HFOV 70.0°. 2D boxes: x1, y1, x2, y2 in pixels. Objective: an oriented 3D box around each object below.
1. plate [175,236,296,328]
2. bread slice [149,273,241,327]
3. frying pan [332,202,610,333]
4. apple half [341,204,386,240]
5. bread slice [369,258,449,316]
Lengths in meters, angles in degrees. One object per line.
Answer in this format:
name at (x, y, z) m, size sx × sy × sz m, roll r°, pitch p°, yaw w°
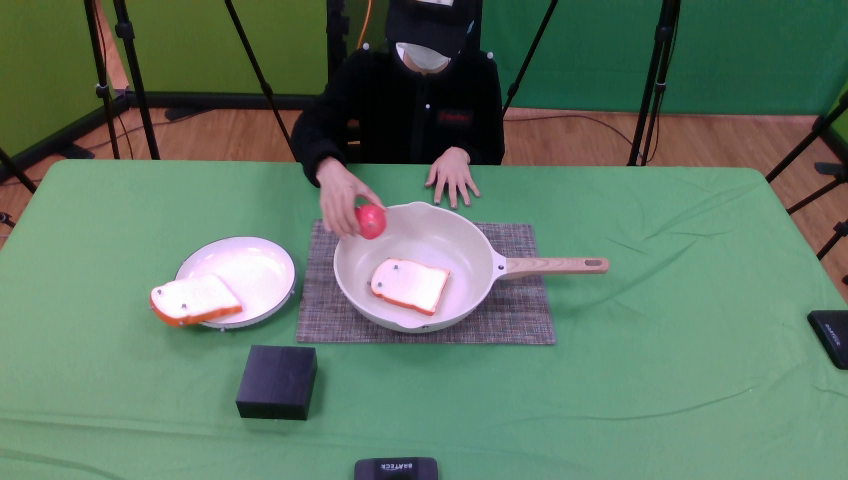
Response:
plate at (-0.335, 0.077, 1.087) m, size 0.208 × 0.039 × 0.206 m, roll 2°, pitch 46°, yaw -2°
bread slice at (-0.393, 0.101, 1.029) m, size 0.132 × 0.019 × 0.104 m, roll -14°, pitch 44°, yaw -45°
frying pan at (0.085, 0.052, 1.093) m, size 0.488 × 0.103 × 0.305 m, roll -1°, pitch 46°, yaw 6°
apple half at (-0.103, -0.041, 1.068) m, size 0.081 × 0.033 × 0.081 m, roll 6°, pitch 51°, yaw -7°
bread slice at (-0.031, 0.083, 1.108) m, size 0.134 × 0.018 × 0.106 m, roll 13°, pitch 45°, yaw 7°
